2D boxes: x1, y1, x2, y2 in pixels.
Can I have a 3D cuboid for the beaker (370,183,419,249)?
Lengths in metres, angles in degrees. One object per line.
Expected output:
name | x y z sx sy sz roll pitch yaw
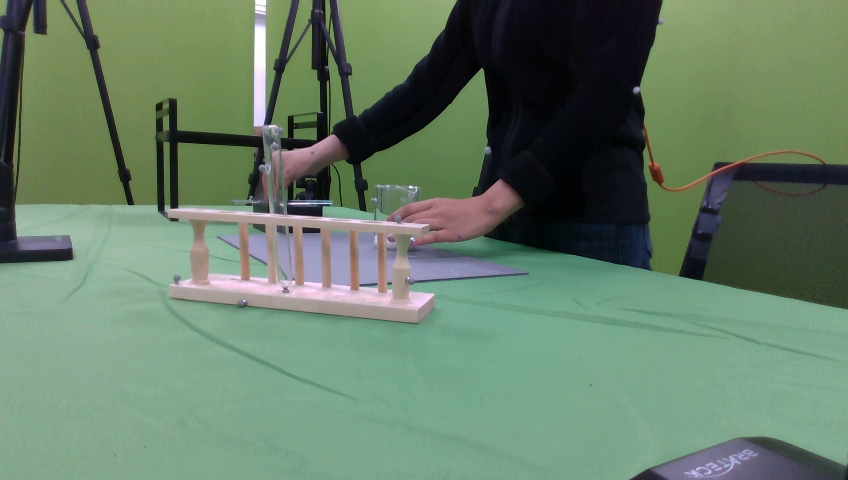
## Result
beaker | -0.044 -0.038 0.954 0.074 0.100 0.083 -5 11 -41

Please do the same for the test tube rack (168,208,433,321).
test tube rack | -0.115 0.017 0.574 0.242 0.085 0.067 4 8 13

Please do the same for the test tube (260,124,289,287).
test tube | -0.138 -0.031 0.556 0.017 0.150 0.017 -3 6 1

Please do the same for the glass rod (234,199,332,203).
glass rod | -0.266 -0.076 1.164 0.201 0.008 0.008 -4 9 -38
